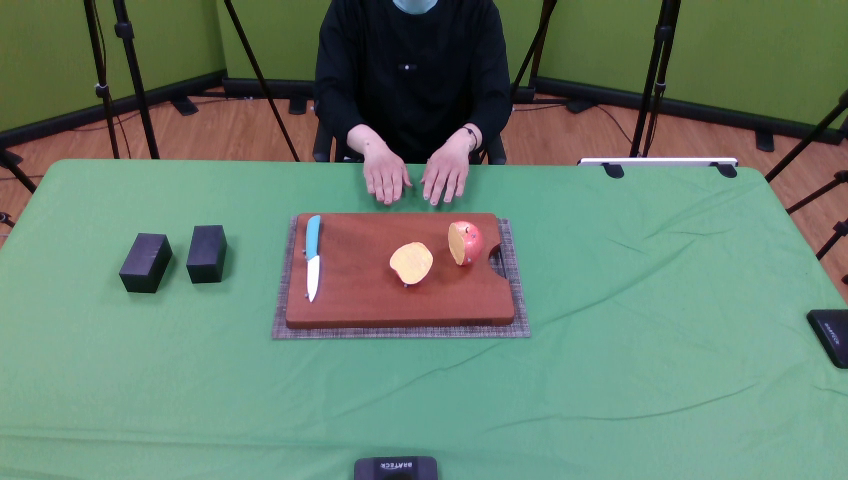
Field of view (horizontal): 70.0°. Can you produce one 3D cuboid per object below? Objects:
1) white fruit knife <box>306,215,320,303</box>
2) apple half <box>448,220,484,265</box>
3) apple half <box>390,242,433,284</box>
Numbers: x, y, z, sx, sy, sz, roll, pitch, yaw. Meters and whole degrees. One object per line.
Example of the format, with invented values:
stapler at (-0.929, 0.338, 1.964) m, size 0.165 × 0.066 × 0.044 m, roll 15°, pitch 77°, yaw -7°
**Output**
white fruit knife at (-0.206, 0.032, 1.113) m, size 0.027 × 0.016 × 0.206 m, roll -12°, pitch 47°, yaw 5°
apple half at (0.082, 0.004, 1.121) m, size 0.053 × 0.075 × 0.080 m, roll -10°, pitch 43°, yaw -19°
apple half at (-0.017, 0.045, 1.096) m, size 0.081 × 0.033 × 0.081 m, roll -6°, pitch 64°, yaw 13°
